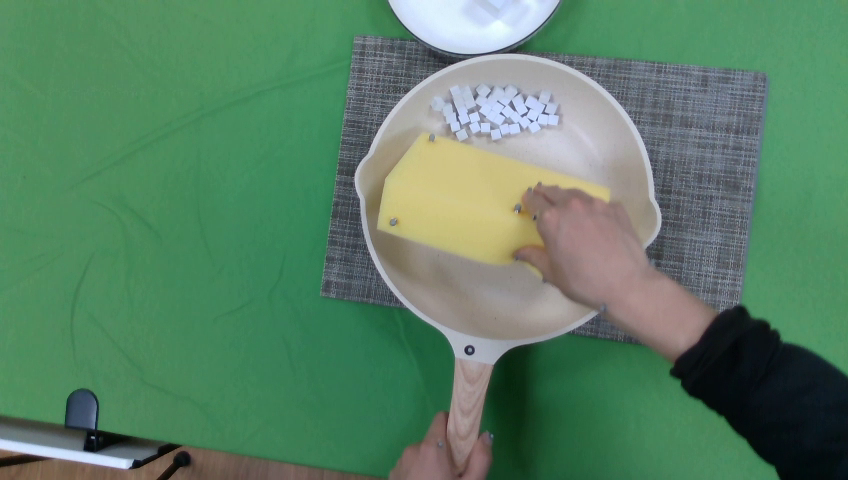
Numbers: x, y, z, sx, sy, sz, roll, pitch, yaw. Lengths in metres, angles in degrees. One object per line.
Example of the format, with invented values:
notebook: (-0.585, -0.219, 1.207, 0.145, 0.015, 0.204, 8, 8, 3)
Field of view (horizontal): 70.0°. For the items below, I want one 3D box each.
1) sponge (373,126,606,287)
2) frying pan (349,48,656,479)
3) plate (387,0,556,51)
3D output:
sponge: (0.069, -0.038, 0.603, 0.206, 0.117, 0.061, 17, 126, 6)
frying pan: (0.057, 0.055, 0.617, 0.306, 0.103, 0.486, 11, 82, 7)
plate: (0.054, -0.306, 0.662, 0.207, 0.039, 0.207, 0, 89, 7)
